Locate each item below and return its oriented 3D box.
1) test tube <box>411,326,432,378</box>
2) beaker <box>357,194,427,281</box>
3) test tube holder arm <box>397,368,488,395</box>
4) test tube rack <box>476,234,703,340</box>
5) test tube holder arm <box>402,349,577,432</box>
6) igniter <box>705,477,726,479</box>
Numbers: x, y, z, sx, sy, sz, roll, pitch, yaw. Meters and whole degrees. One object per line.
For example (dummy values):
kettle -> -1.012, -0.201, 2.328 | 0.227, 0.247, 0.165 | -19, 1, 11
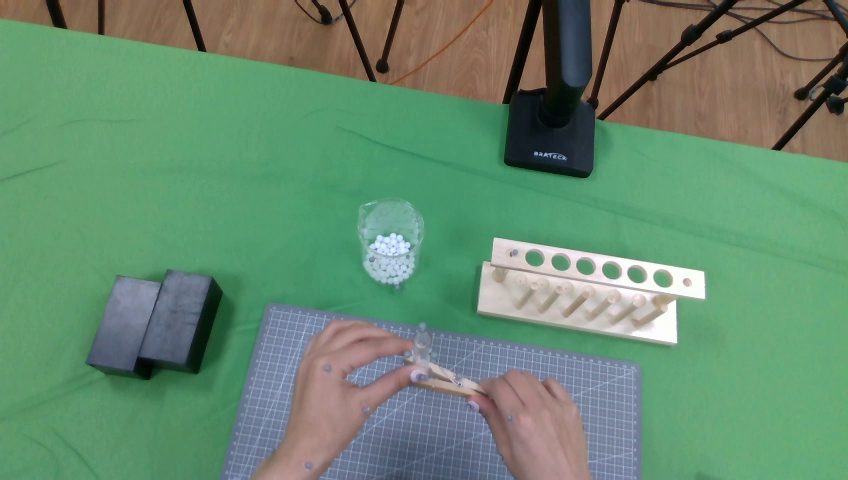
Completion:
test tube -> -0.003, 0.102, 0.528 | 0.017, 0.151, 0.017 | 1, 67, -1
beaker -> -0.042, 0.000, 0.709 | 0.083, 0.101, 0.074 | 36, 68, 11
test tube holder arm -> 0.018, 0.136, 0.581 | 0.088, 0.015, 0.010 | 10, 65, -1
test tube rack -> 0.190, 0.057, 0.713 | 0.242, 0.085, 0.066 | 9, 66, -1
test tube holder arm -> 0.062, 0.144, 0.581 | 0.178, 0.015, 0.013 | 21, 66, 4
igniter -> 0.294, 0.385, 0.615 | 0.057, 0.025, 0.275 | 19, 66, -7
